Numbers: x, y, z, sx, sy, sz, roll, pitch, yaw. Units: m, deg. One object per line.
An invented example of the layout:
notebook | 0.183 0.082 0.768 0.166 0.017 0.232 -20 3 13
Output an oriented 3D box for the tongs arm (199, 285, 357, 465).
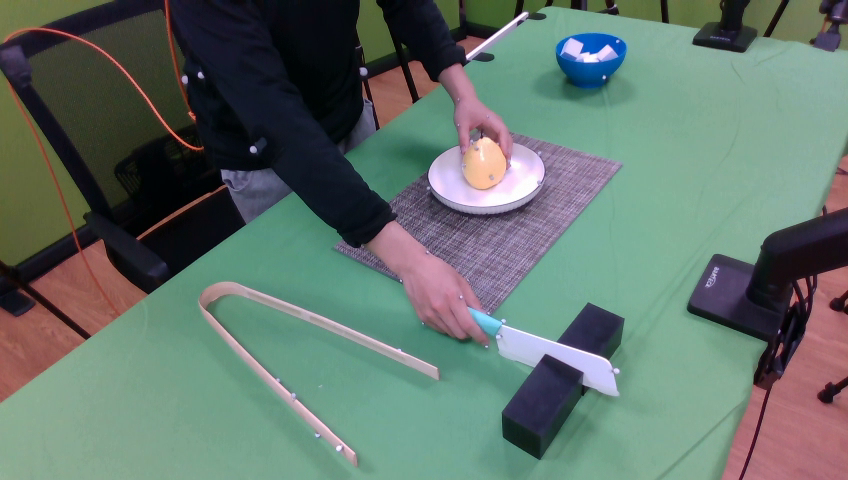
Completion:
tongs arm | -0.199 0.162 0.797 0.381 0.026 0.051 28 50 35

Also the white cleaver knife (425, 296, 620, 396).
white cleaver knife | 0.110 0.131 0.762 0.284 0.066 0.021 17 41 40

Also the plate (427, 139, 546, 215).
plate | 0.109 -0.107 1.059 0.207 0.039 0.206 -4 41 4

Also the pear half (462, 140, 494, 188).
pear half | 0.087 -0.125 1.027 0.070 0.088 0.031 29 50 31

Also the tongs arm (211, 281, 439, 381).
tongs arm | -0.148 0.121 0.845 0.385 0.028 0.028 17 48 25

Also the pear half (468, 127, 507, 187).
pear half | 0.110 -0.150 1.040 0.076 0.110 0.056 30 52 31

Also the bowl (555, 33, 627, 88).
bowl | 0.360 -0.384 1.318 0.151 0.077 0.150 -4 41 4
